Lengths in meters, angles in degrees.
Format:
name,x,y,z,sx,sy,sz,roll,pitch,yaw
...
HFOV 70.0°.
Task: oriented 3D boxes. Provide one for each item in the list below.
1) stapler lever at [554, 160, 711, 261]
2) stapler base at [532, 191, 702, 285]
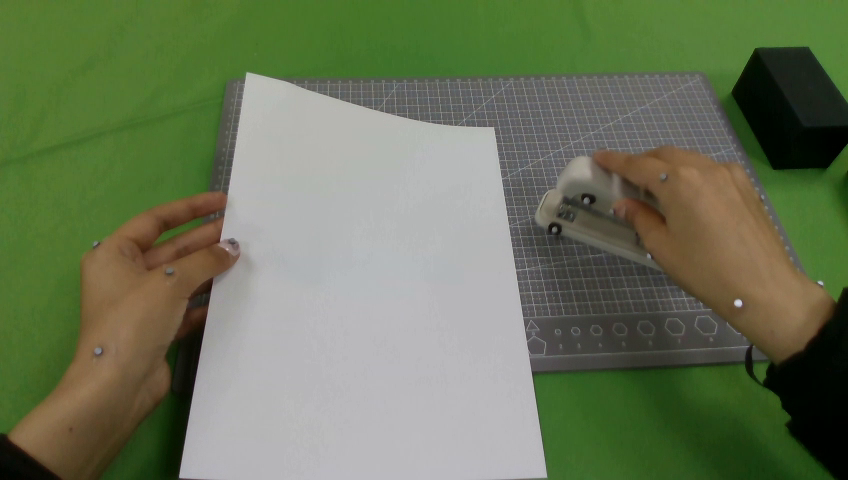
name,x,y,z,sx,sy,sz,roll,pitch,yaw
stapler lever,0.152,-0.023,0.438,0.118,0.040,0.026,22,58,10
stapler base,0.149,-0.008,0.459,0.130,0.024,0.041,22,58,10
